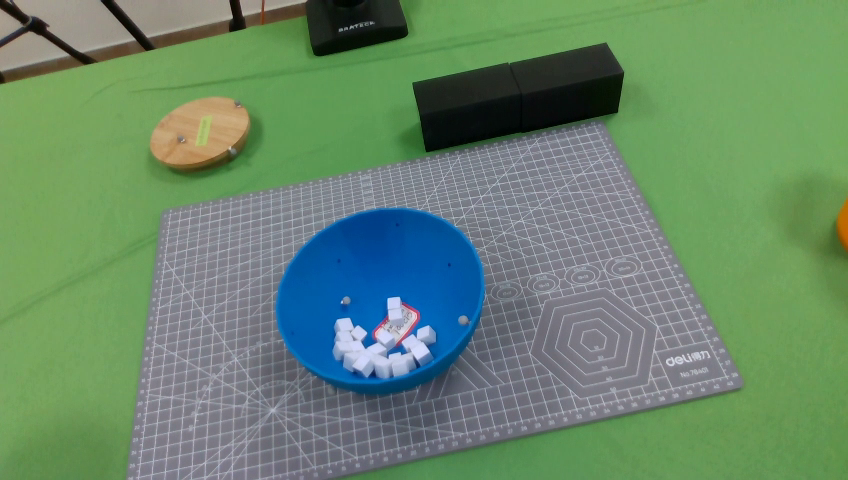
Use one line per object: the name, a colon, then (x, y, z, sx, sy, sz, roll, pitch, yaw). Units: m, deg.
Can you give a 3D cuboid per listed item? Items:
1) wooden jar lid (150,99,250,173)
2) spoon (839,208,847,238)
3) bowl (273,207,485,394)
wooden jar lid: (-0.242, -0.112, 0.662, 0.108, 0.021, 0.107, -3, 52, 4)
spoon: (0.403, -0.053, 0.435, 0.022, 0.194, 0.041, 23, 46, -30)
bowl: (-0.028, 0.056, 0.456, 0.151, 0.077, 0.150, -4, 51, 5)
